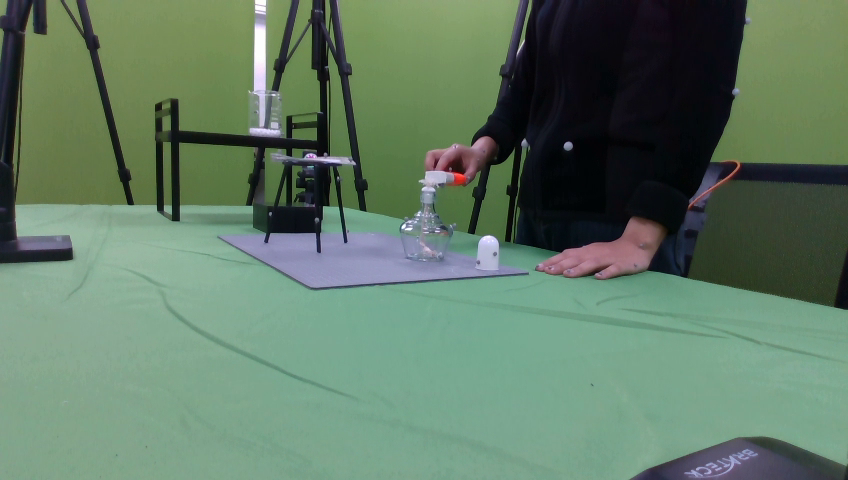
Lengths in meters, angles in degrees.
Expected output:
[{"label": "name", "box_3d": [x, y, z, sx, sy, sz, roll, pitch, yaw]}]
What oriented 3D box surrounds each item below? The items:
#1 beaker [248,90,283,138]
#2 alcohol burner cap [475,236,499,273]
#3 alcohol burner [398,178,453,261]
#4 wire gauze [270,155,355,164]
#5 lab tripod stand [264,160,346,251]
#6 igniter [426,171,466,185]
[{"label": "beaker", "box_3d": [-0.354, -0.278, 1.340, 0.074, 0.100, 0.084, 6, 9, 26]}, {"label": "alcohol burner cap", "box_3d": [0.084, 0.018, 0.799, 0.034, 0.048, 0.034, 2, 6, 0]}, {"label": "alcohol burner", "box_3d": [0.004, -0.029, 0.860, 0.078, 0.119, 0.078, 4, 7, 0]}, {"label": "wire gauze", "box_3d": [-0.174, -0.123, 0.925, 0.125, 0.011, 0.121, 0, 8, -12]}, {"label": "lab tripod stand", "box_3d": [-0.178, -0.056, 0.930, 0.148, 0.131, 0.148, 1, 8, 0]}, {"label": "igniter", "box_3d": [0.039, -0.103, 1.006, 0.057, 0.025, 0.277, 2, 6, 9]}]
